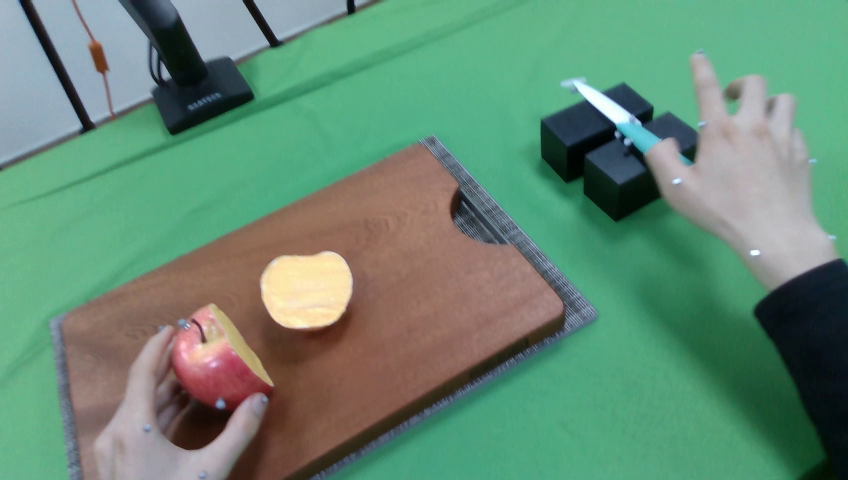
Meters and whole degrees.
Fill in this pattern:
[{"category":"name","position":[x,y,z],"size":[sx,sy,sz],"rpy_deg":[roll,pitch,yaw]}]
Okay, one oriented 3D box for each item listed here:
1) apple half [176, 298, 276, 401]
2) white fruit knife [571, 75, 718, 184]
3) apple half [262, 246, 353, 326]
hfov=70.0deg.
[{"category":"apple half","position":[-0.160,0.094,0.474],"size":[0.053,0.075,0.080],"rpy_deg":[-38,56,-10]},{"category":"white fruit knife","position":[0.199,-0.113,0.581],"size":[0.027,0.016,0.205],"rpy_deg":[-16,44,-16]},{"category":"apple half","position":[-0.100,0.045,0.528],"size":[0.081,0.033,0.080],"rpy_deg":[1,60,-2]}]
